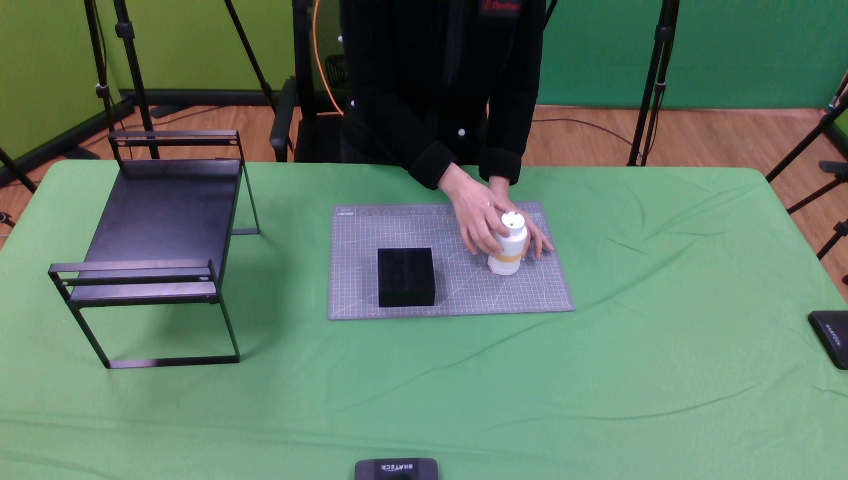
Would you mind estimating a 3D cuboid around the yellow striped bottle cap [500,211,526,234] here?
[{"bbox_3d":[0.161,-0.032,1.093,0.044,0.019,0.044,3,45,-3],"label":"yellow striped bottle cap"}]

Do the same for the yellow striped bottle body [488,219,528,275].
[{"bbox_3d":[0.158,0.004,1.131,0.063,0.121,0.062,2,46,-2],"label":"yellow striped bottle body"}]
